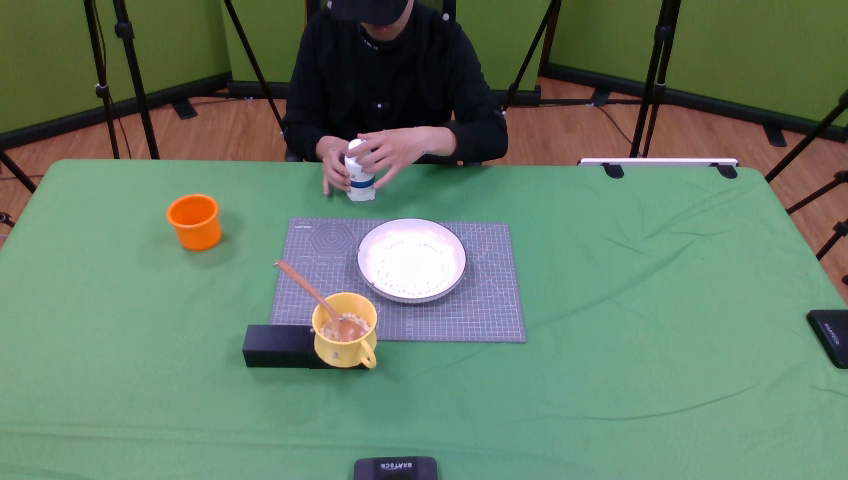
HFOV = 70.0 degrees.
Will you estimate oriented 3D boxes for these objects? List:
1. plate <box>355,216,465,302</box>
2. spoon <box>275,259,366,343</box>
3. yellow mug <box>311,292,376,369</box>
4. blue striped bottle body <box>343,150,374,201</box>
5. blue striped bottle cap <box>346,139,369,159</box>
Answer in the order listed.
[{"bbox_3d":[-0.027,0.039,1.144,0.208,0.039,0.206,2,46,-2],"label":"plate"},{"bbox_3d":[-0.161,0.098,0.946,0.194,0.021,0.041,48,56,-5],"label":"spoon"},{"bbox_3d":[-0.115,0.150,0.945,0.100,0.064,0.130,-30,57,-28],"label":"yellow mug"},{"bbox_3d":[-0.135,-0.145,1.257,0.063,0.121,0.062,3,47,-3],"label":"blue striped bottle body"},{"bbox_3d":[-0.134,-0.183,1.215,0.044,0.021,0.044,2,45,-2],"label":"blue striped bottle cap"}]
